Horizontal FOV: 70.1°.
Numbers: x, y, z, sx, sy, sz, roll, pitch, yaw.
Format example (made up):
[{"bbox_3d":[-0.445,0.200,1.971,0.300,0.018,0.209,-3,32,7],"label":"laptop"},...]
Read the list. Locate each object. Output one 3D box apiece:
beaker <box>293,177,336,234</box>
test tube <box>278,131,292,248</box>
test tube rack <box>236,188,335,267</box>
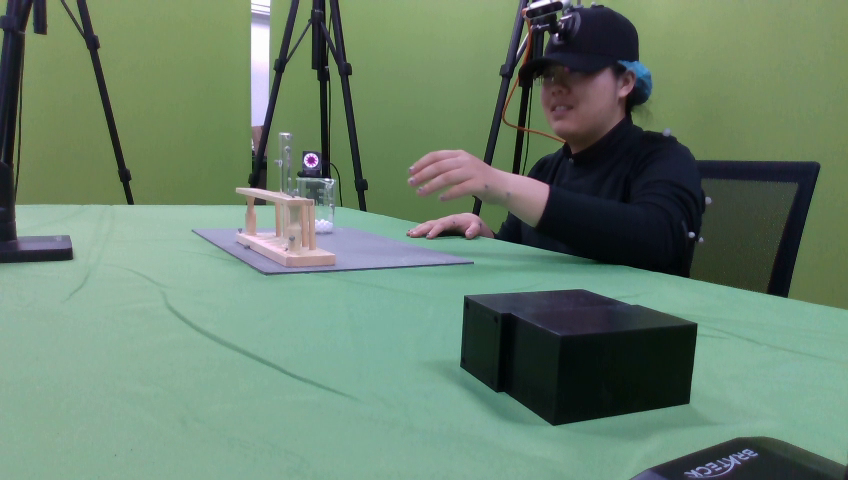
[{"bbox_3d":[-0.198,-0.063,1.107,0.083,0.100,0.074,10,11,40],"label":"beaker"},{"bbox_3d":[-0.178,-0.063,0.776,0.017,0.150,0.017,2,11,0],"label":"test tube"},{"bbox_3d":[-0.202,-0.024,0.855,0.067,0.085,0.241,-2,9,-31],"label":"test tube rack"}]
